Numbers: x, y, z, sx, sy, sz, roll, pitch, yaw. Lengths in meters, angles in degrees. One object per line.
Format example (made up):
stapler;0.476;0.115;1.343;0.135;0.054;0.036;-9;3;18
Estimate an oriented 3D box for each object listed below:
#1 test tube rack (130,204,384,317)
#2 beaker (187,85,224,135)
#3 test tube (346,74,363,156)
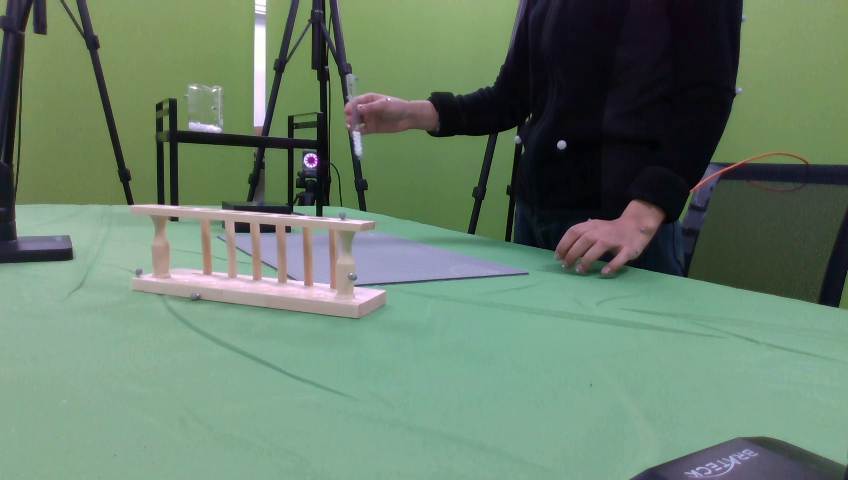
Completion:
test tube rack;-0.163;0.013;0.589;0.242;0.085;0.067;5;8;17
beaker;-0.466;-0.276;1.296;0.074;0.100;0.083;-3;10;-35
test tube;-0.125;-0.227;1.095;0.017;0.150;0.017;-7;-3;0
